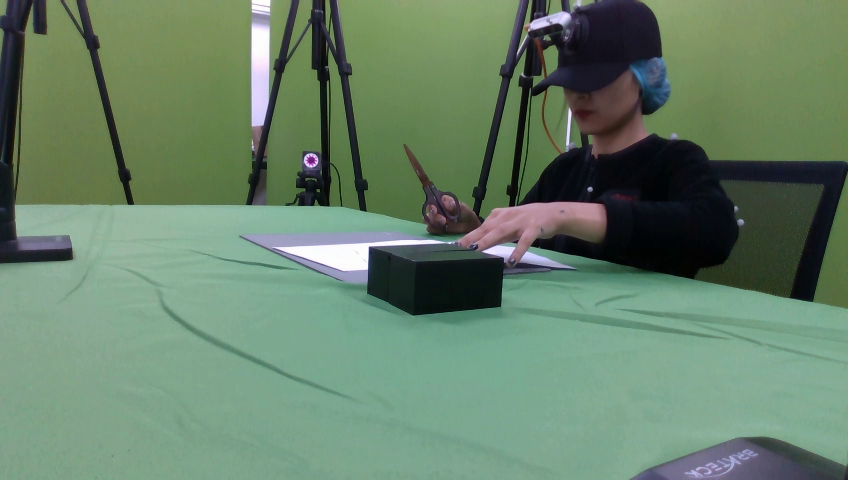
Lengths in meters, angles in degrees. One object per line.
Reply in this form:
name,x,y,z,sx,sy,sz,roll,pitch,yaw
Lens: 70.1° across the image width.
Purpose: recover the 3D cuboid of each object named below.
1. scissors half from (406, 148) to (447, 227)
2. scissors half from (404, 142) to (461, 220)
scissors half,-0.002,-0.104,1.142,0.040,0.175,0.013,-21,6,-1
scissors half,0.016,-0.114,1.143,0.040,0.175,0.013,-38,7,-4
